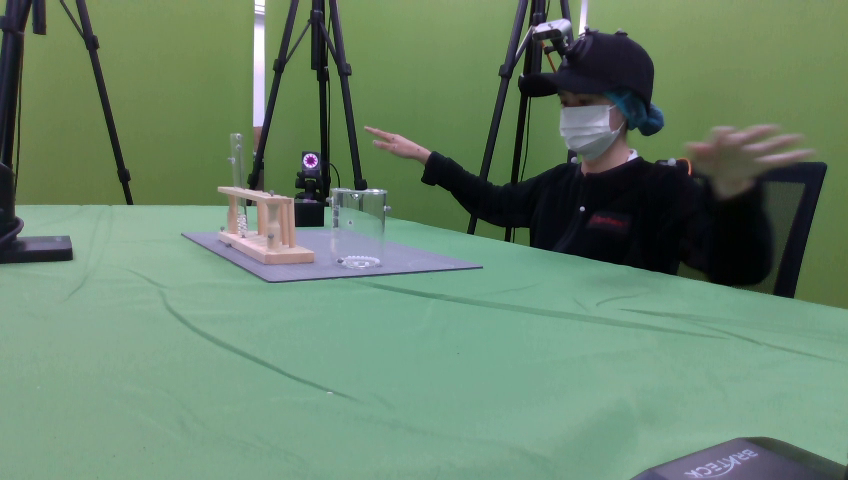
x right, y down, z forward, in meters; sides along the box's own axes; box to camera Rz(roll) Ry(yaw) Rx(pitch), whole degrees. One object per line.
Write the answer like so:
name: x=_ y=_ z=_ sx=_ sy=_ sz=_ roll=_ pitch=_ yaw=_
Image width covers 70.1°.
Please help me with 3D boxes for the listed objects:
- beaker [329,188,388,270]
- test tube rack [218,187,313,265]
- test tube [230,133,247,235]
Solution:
beaker: x=-0.087 y=-0.016 z=0.786 sx=0.074 sy=0.100 sz=0.083 roll=1 pitch=7 yaw=-13
test tube rack: x=-0.235 y=-0.027 z=0.872 sx=0.067 sy=0.085 sz=0.241 roll=-2 pitch=8 yaw=-32
test tube: x=-0.273 y=-0.081 z=0.892 sx=0.017 sy=0.150 sz=0.017 roll=-1 pitch=9 yaw=0
